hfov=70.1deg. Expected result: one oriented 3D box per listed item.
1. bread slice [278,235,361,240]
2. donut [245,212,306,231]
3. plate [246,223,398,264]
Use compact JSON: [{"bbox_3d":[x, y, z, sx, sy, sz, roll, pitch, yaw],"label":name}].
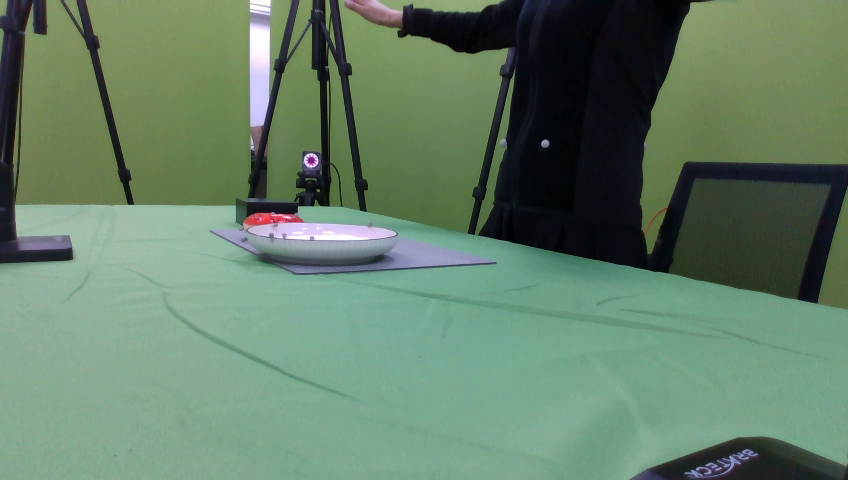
[{"bbox_3d":[-0.139,0.007,0.839,0.132,0.019,0.104,-2,8,-35],"label":"bread slice"},{"bbox_3d":[-0.244,-0.023,0.997,0.099,0.048,0.099,2,5,0],"label":"donut"},{"bbox_3d":[-0.140,0.004,0.847,0.209,0.038,0.209,2,7,0],"label":"plate"}]
